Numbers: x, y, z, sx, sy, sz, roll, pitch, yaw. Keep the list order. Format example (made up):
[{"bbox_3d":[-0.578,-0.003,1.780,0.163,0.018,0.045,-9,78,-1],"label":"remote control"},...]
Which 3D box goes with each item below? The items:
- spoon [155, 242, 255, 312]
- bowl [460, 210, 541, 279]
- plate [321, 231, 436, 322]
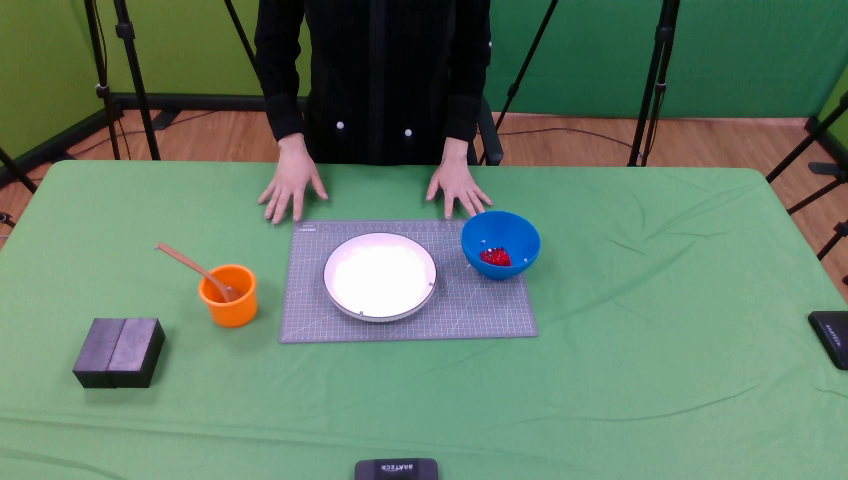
[{"bbox_3d":[-0.366,0.061,1.021,0.021,0.195,0.041,-27,32,32],"label":"spoon"},{"bbox_3d":[0.140,0.021,1.145,0.151,0.077,0.150,2,46,-2],"label":"bowl"},{"bbox_3d":[-0.083,0.070,1.109,0.209,0.038,0.208,3,46,-3],"label":"plate"}]
